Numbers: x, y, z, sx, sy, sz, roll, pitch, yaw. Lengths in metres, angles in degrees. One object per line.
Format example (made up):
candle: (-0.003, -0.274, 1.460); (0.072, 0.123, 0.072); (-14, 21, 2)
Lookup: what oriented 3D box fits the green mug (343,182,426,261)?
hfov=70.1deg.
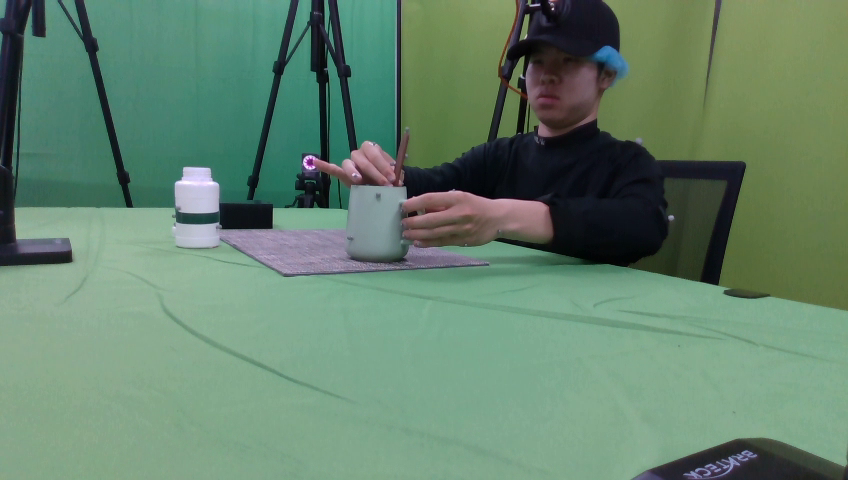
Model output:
green mug: (-0.053, -0.026, 0.848); (0.125, 0.105, 0.093); (6, 9, 29)

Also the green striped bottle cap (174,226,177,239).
green striped bottle cap: (-0.404, -0.015, 1.036); (0.044, 0.020, 0.044); (-1, 9, 0)

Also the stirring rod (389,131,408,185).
stirring rod: (-0.046, -0.066, 0.838); (0.006, 0.176, 0.014); (12, 2, -42)

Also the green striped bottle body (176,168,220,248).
green striped bottle body: (-0.345, -0.050, 0.924); (0.063, 0.119, 0.063); (2, 7, 0)
